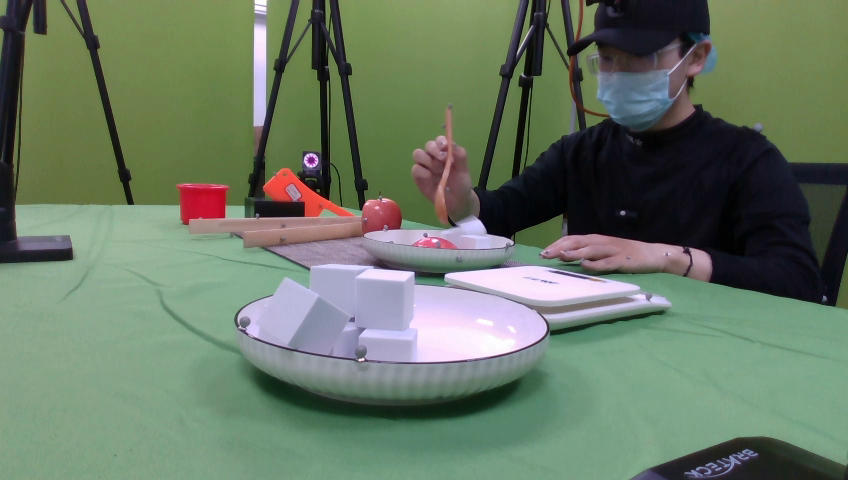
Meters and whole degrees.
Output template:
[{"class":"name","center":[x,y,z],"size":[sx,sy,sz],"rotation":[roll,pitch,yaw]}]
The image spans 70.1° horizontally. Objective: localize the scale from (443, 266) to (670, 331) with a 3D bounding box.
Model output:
[{"class":"scale","center":[0.131,0.052,0.603],"size":[0.202,0.031,0.148],"rotation":[-2,9,-37]}]

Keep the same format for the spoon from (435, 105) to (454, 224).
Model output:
[{"class":"spoon","center":[0.034,-0.115,0.891],"size":[0.022,0.193,0.041],"rotation":[9,-21,-3]}]

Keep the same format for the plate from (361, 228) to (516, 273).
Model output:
[{"class":"plate","center":[0.018,0.013,0.818],"size":[0.209,0.038,0.209],"rotation":[2,7,0]}]

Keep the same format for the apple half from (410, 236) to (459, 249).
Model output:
[{"class":"apple half","center":[0.014,0.011,0.796],"size":[0.081,0.033,0.081],"rotation":[1,10,0]}]

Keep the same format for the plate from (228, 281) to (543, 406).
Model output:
[{"class":"plate","center":[-0.025,0.067,0.413],"size":[0.208,0.039,0.207],"rotation":[3,7,0]}]

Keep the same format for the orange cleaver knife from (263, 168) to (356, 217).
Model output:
[{"class":"orange cleaver knife","center":[-0.240,-0.077,1.294],"size":[0.212,0.077,0.012],"rotation":[32,-7,-26]}]

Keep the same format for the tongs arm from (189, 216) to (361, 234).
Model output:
[{"class":"tongs arm","center":[-0.220,-0.028,1.088],"size":[0.387,0.026,0.050],"rotation":[-3,8,-43]}]

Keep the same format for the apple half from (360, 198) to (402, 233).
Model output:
[{"class":"apple half","center":[-0.066,-0.033,1.014],"size":[0.053,0.074,0.081],"rotation":[9,6,21]}]

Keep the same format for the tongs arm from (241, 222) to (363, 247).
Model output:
[{"class":"tongs arm","center":[-0.159,-0.016,1.034],"size":[0.028,0.028,0.389],"rotation":[2,6,33]}]
